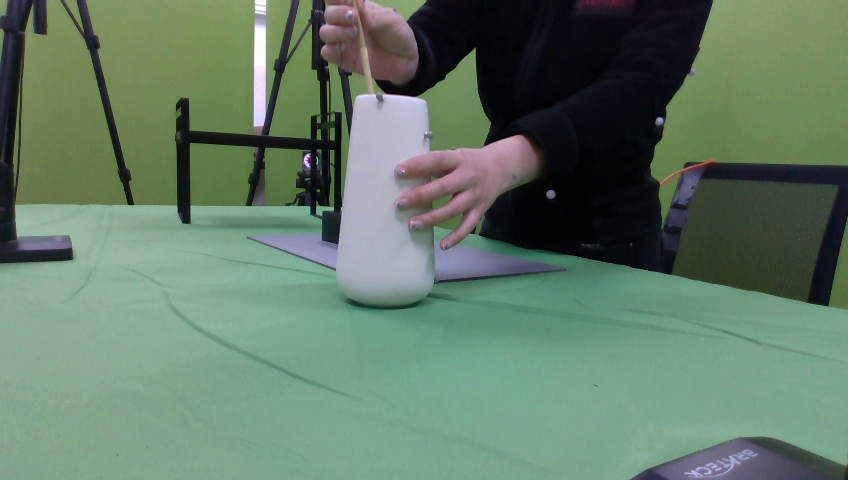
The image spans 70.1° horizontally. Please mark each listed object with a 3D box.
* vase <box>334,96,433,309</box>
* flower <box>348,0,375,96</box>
[{"bbox_3d":[-0.039,-0.036,0.589,0.098,0.200,0.098,1,8,0],"label":"vase"},{"bbox_3d":[-0.070,-0.220,0.589,0.038,0.361,0.044,-13,1,40],"label":"flower"}]
